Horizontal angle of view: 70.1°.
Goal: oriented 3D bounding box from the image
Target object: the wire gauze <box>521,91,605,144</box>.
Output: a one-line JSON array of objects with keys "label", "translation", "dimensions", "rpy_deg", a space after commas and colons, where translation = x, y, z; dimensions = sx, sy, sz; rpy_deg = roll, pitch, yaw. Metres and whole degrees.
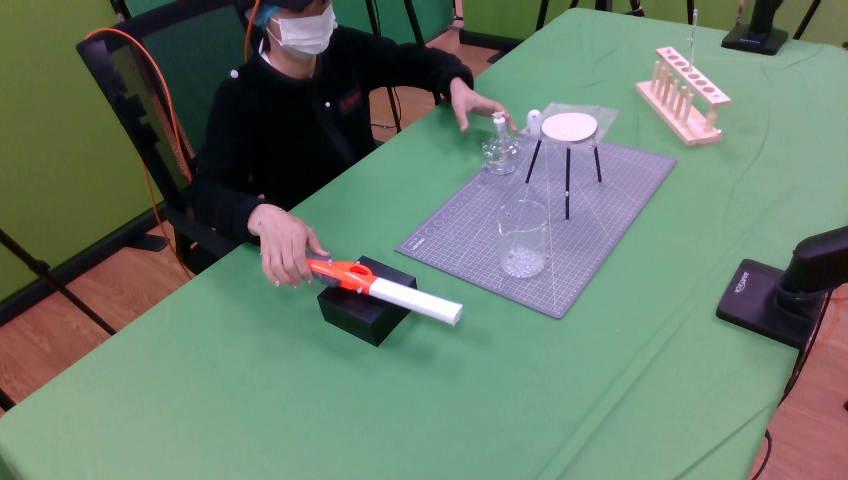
[{"label": "wire gauze", "translation": [0.219, -0.191, 0.948], "dimensions": [0.121, 0.011, 0.125], "rpy_deg": [8, 49, 13]}]

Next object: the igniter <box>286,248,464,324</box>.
[{"label": "igniter", "translation": [-0.077, 0.060, 0.835], "dimensions": [0.275, 0.025, 0.057], "rpy_deg": [17, 32, 19]}]

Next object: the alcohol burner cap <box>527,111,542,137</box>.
[{"label": "alcohol burner cap", "translation": [0.220, -0.233, 1.200], "dimensions": [0.034, 0.048, 0.033], "rpy_deg": [-5, 41, 5]}]

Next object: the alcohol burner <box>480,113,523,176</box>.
[{"label": "alcohol burner", "translation": [0.139, -0.176, 1.090], "dimensions": [0.078, 0.119, 0.077], "rpy_deg": [-5, 42, 5]}]

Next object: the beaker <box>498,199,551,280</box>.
[{"label": "beaker", "translation": [0.144, 0.003, 0.884], "dimensions": [0.073, 0.101, 0.084], "rpy_deg": [28, 52, 36]}]

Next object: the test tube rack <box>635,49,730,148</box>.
[{"label": "test tube rack", "translation": [0.497, -0.283, 1.184], "dimensions": [0.067, 0.085, 0.240], "rpy_deg": [-10, 40, -2]}]

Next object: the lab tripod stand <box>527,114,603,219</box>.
[{"label": "lab tripod stand", "translation": [0.234, -0.129, 1.002], "dimensions": [0.148, 0.132, 0.147], "rpy_deg": [-6, 40, 6]}]

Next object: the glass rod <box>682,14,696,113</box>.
[{"label": "glass rod", "translation": [0.495, -0.326, 1.132], "dimensions": [0.008, 0.201, 0.008], "rpy_deg": [-8, 42, 8]}]
